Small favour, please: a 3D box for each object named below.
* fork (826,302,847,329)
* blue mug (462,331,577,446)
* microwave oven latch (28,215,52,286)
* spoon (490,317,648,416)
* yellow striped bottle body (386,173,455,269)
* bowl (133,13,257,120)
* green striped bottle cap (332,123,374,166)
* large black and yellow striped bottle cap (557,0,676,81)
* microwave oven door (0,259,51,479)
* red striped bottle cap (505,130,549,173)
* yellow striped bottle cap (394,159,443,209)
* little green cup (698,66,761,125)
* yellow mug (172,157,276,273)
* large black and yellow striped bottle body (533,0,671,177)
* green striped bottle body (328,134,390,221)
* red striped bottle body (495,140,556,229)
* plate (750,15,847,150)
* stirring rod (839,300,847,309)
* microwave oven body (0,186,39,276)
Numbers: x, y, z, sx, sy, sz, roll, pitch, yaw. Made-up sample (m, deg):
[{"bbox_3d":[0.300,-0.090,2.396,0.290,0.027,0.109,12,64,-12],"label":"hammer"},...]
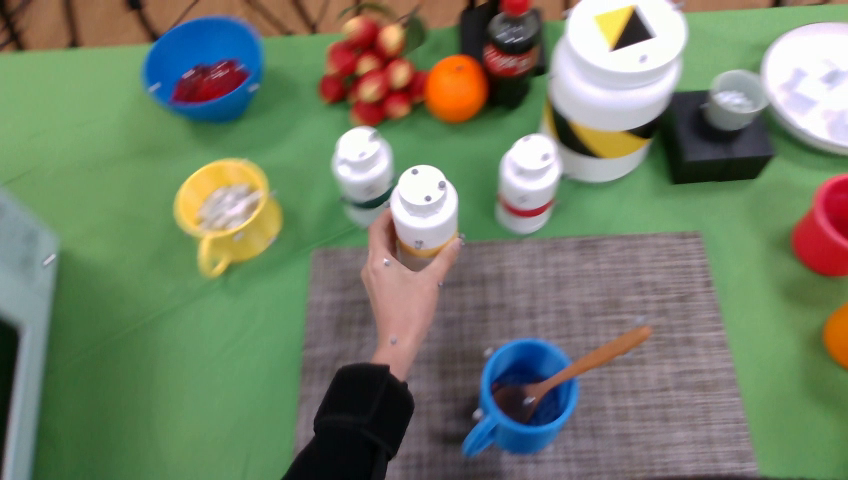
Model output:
[{"bbox_3d":[0.476,0.094,0.552,0.028,0.019,0.205,-39,23,-15],"label":"fork"},{"bbox_3d":[0.081,0.151,0.565,0.116,0.107,0.081,-37,66,-14],"label":"blue mug"},{"bbox_3d":[-0.442,0.014,0.684,0.030,0.030,0.078,-10,64,-2],"label":"microwave oven latch"},{"bbox_3d":[0.119,0.116,0.532,0.022,0.194,0.041,4,56,-35],"label":"spoon"},{"bbox_3d":[-0.002,-0.025,0.584,0.063,0.121,0.062,-1,61,3],"label":"yellow striped bottle body"},{"bbox_3d":[-0.284,-0.211,0.789,0.151,0.077,0.150,-1,63,2],"label":"bowl"},{"bbox_3d":[-0.075,-0.101,0.639,0.044,0.020,0.044,-1,62,1],"label":"green striped bottle cap"},{"bbox_3d":[0.192,-0.209,0.608,0.115,0.019,0.114,-2,62,3],"label":"large black and yellow striped bottle cap"},{"bbox_3d":[-0.408,0.158,0.495,0.039,0.246,0.352,-11,63,-2],"label":"microwave oven door"},{"bbox_3d":[0.107,-0.092,0.624,0.044,0.018,0.044,1,61,-1],"label":"red striped bottle cap"},{"bbox_3d":[-0.005,-0.050,0.539,0.044,0.019,0.044,0,62,1],"label":"yellow striped bottle cap"},{"bbox_3d":[0.348,-0.164,0.696,0.061,0.039,0.061,-1,62,2],"label":"little green cup"},{"bbox_3d":[-0.232,-0.025,0.698,0.100,0.064,0.130,6,64,6],"label":"yellow mug"},{"bbox_3d":[0.197,-0.172,0.683,0.131,0.185,0.129,-1,63,3],"label":"large black and yellow striped bottle body"},{"bbox_3d":[-0.071,-0.077,0.685,0.063,0.120,0.062,-1,63,2],"label":"green striped bottle body"},{"bbox_3d":[0.111,-0.067,0.670,0.063,0.121,0.062,-2,62,5],"label":"red striped bottle body"},{"bbox_3d":[0.514,-0.194,0.759,0.209,0.038,0.207,-1,63,3],"label":"plate"},{"bbox_3d":[0.445,0.094,0.561,0.014,0.006,0.175,0,20,0],"label":"stirring rod"},{"bbox_3d":[-0.559,0.151,0.513,0.326,0.262,0.437,-11,64,-3],"label":"microwave oven body"}]
